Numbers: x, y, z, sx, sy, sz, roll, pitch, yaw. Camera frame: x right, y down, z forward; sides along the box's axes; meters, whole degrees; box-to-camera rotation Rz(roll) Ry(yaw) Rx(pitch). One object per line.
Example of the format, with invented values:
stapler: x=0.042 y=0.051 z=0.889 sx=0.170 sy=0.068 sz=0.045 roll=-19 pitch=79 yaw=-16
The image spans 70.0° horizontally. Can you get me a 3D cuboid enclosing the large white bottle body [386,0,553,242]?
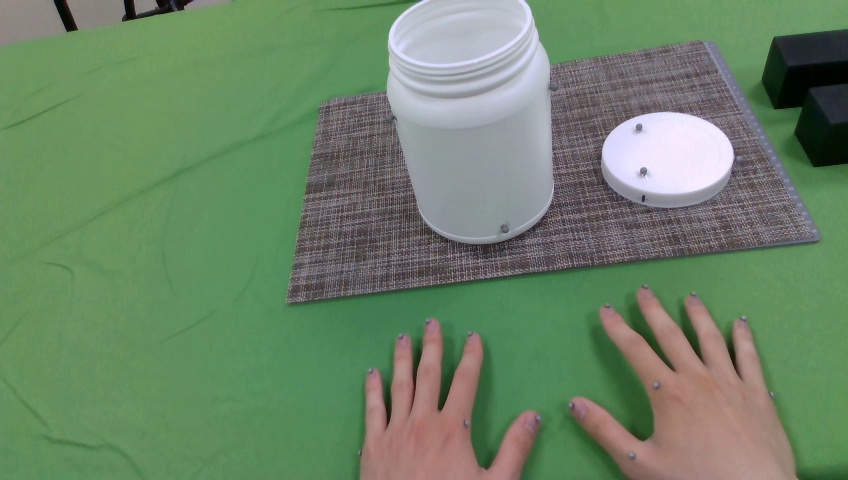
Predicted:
large white bottle body: x=0.042 y=-0.102 z=0.516 sx=0.130 sy=0.186 sz=0.129 roll=-7 pitch=48 yaw=8

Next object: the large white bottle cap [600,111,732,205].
large white bottle cap: x=0.224 y=-0.079 z=0.565 sx=0.115 sy=0.018 sz=0.113 roll=-7 pitch=49 yaw=8
